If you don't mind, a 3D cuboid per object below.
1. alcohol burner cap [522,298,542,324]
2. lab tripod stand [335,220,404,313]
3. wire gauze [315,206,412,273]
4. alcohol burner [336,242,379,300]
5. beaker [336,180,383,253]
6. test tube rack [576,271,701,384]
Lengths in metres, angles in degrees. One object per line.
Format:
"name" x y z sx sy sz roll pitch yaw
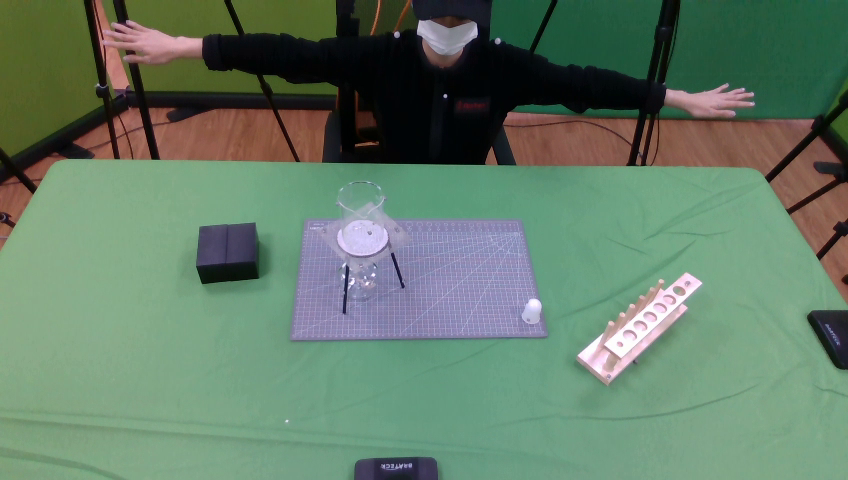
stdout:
"alcohol burner cap" 0.193 0.124 1.074 0.034 0.048 0.033 2 46 -1
"lab tripod stand" -0.110 0.039 1.070 0.148 0.132 0.147 1 46 -1
"wire gauze" -0.103 -0.007 1.024 0.121 0.011 0.124 -28 50 -29
"alcohol burner" -0.118 0.050 1.072 0.078 0.120 0.077 2 44 -1
"beaker" -0.102 -0.034 0.981 0.074 0.101 0.083 -7 46 -9
"test tube rack" 0.373 0.138 1.047 0.242 0.085 0.066 -31 56 -29
